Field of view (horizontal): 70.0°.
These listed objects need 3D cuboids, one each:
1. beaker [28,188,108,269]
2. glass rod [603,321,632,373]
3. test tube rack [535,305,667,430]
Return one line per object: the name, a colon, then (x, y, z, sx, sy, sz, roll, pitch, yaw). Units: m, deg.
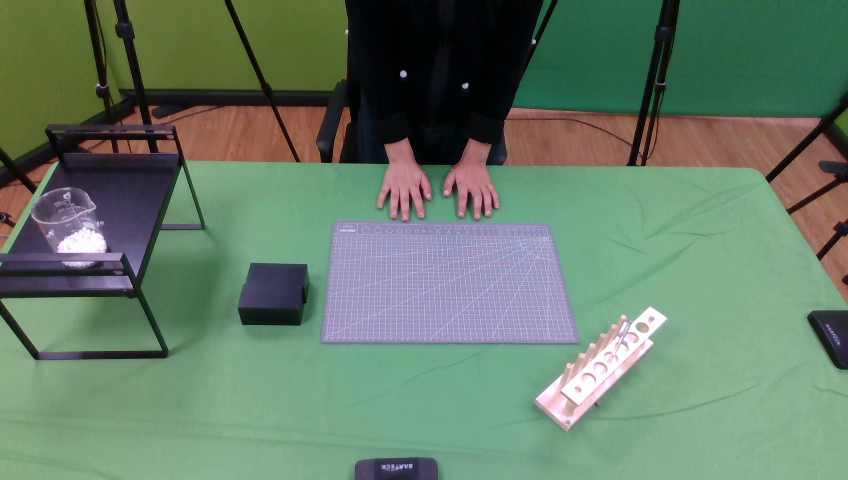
beaker: (-0.502, -0.014, 0.869, 0.084, 0.101, 0.073, -3, 47, -7)
glass rod: (0.286, 0.173, 0.913, 0.008, 0.201, 0.008, -1, 53, 1)
test tube rack: (0.290, 0.193, 0.984, 0.242, 0.085, 0.066, -32, 56, -30)
